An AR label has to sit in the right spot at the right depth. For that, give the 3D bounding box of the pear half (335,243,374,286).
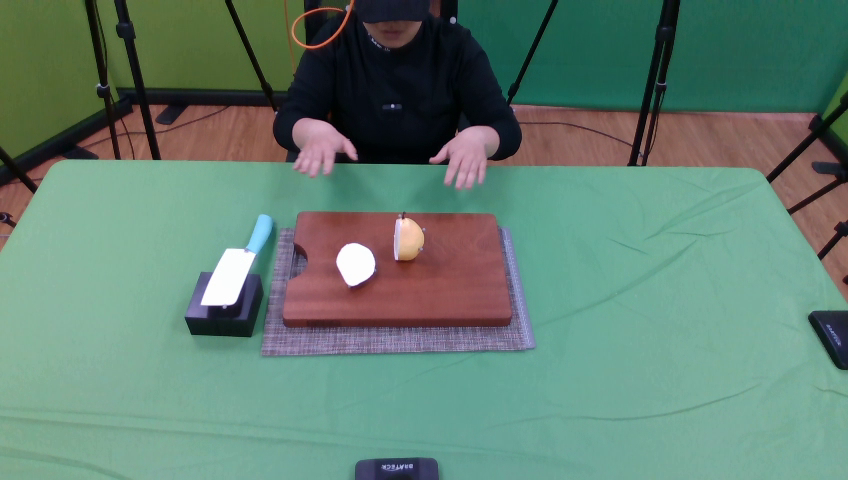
[{"bbox_3d":[-0.127,0.049,1.093,0.070,0.031,0.087,17,59,-8],"label":"pear half"}]

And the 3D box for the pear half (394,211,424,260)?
[{"bbox_3d":[-0.027,-0.013,1.109,0.056,0.110,0.076,-7,51,-10],"label":"pear half"}]

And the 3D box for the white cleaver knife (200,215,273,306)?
[{"bbox_3d":[-0.335,0.029,1.101,0.066,0.021,0.285,6,32,-1],"label":"white cleaver knife"}]
